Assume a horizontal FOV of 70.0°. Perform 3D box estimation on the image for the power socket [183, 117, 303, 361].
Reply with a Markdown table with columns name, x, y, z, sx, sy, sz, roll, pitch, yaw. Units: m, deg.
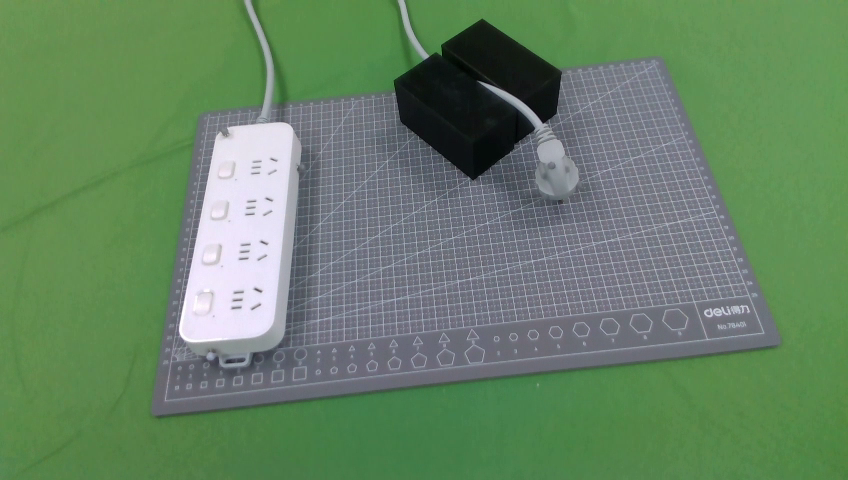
| name | x | y | z | sx | sy | sz | roll | pitch | yaw |
| --- | --- | --- | --- | --- | --- | --- | --- | --- | --- |
| power socket | -0.142 | -0.014 | 0.495 | 0.072 | 0.033 | 0.224 | -4 | 58 | 3 |

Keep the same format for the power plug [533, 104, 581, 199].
| name | x | y | z | sx | sy | sz | roll | pitch | yaw |
| --- | --- | --- | --- | --- | --- | --- | --- | --- | --- |
| power plug | 0.108 | -0.069 | 0.490 | 0.035 | 0.053 | 0.072 | -3 | 67 | 14 |
